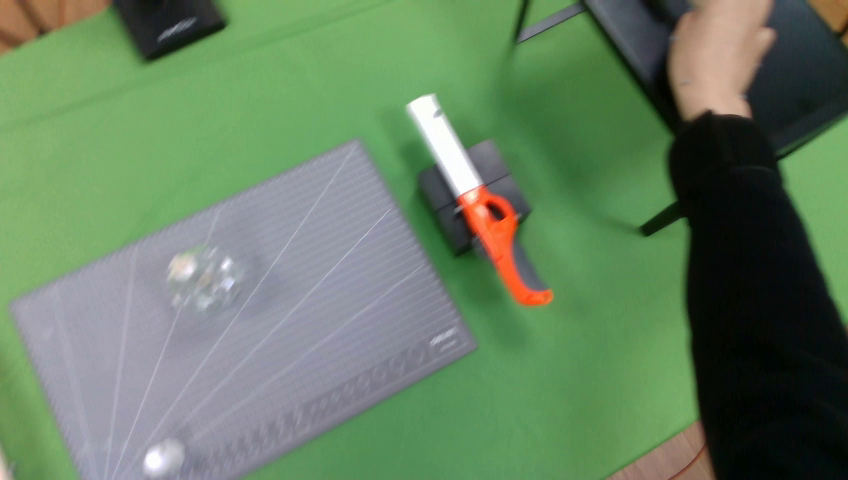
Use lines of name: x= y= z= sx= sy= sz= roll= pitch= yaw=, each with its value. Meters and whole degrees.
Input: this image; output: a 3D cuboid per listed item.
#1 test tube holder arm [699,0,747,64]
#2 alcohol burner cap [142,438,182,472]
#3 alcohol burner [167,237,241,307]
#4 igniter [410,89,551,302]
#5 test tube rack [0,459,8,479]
test tube holder arm: x=0.256 y=-0.244 z=0.575 sx=0.013 sy=0.015 sz=0.178 roll=-30 pitch=83 yaw=10
alcohol burner cap: x=-0.279 y=0.227 z=0.638 sx=0.034 sy=0.048 sz=0.033 roll=1 pitch=77 yaw=-4
alcohol burner: x=-0.240 y=0.032 z=0.646 sx=0.078 sy=0.119 sz=0.077 roll=0 pitch=78 yaw=-1
igniter: x=0.060 y=-0.051 z=0.677 sx=0.057 sy=0.025 sz=0.275 roll=-25 pitch=77 yaw=-11
test tube rack: x=-0.497 y=0.212 z=0.611 sx=0.067 sy=0.085 sz=0.241 roll=-27 pitch=80 yaw=-8
